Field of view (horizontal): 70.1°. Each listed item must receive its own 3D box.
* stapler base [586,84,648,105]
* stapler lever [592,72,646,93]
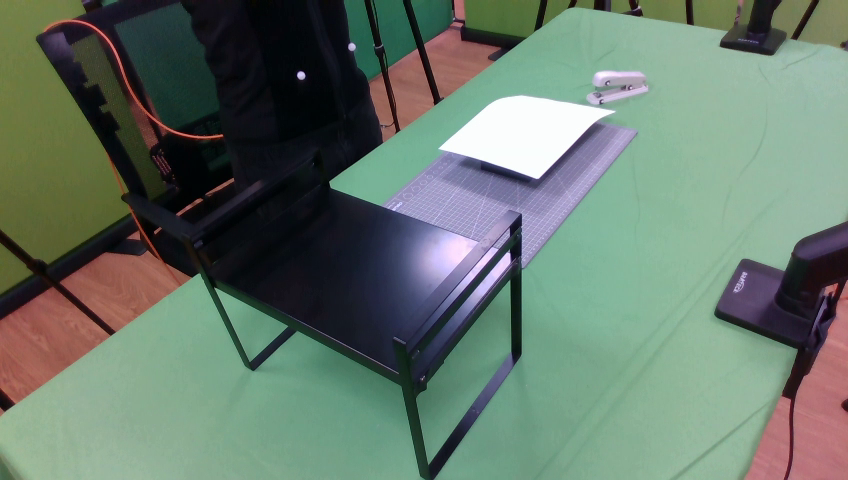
[{"bbox_3d":[0.410,-0.317,1.285,0.131,0.024,0.041,-15,43,-11],"label":"stapler base"},{"bbox_3d":[0.409,-0.337,1.269,0.118,0.040,0.026,-15,43,-11],"label":"stapler lever"}]
